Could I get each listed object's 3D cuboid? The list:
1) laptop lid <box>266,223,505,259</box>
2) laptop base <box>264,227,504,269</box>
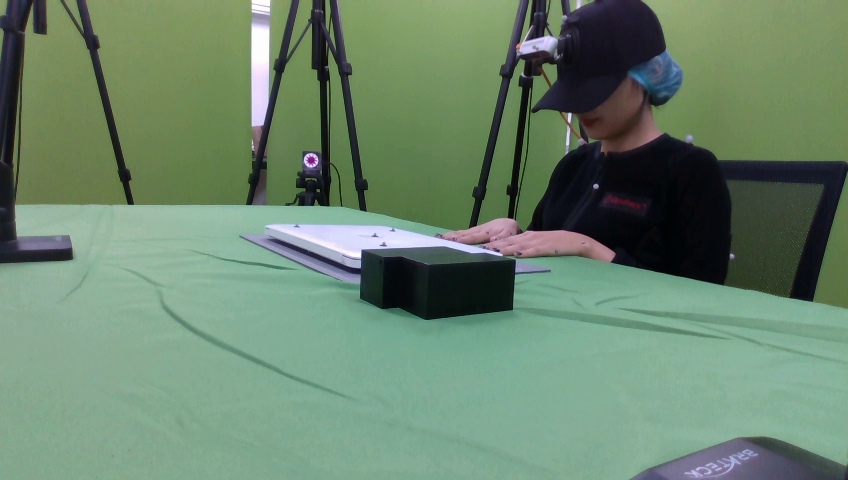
[{"bbox_3d":[-0.074,-0.003,0.914,0.243,0.013,0.355,1,7,-31],"label":"laptop lid"},{"bbox_3d":[-0.077,0.009,0.914,0.237,0.023,0.352,2,6,-33],"label":"laptop base"}]
